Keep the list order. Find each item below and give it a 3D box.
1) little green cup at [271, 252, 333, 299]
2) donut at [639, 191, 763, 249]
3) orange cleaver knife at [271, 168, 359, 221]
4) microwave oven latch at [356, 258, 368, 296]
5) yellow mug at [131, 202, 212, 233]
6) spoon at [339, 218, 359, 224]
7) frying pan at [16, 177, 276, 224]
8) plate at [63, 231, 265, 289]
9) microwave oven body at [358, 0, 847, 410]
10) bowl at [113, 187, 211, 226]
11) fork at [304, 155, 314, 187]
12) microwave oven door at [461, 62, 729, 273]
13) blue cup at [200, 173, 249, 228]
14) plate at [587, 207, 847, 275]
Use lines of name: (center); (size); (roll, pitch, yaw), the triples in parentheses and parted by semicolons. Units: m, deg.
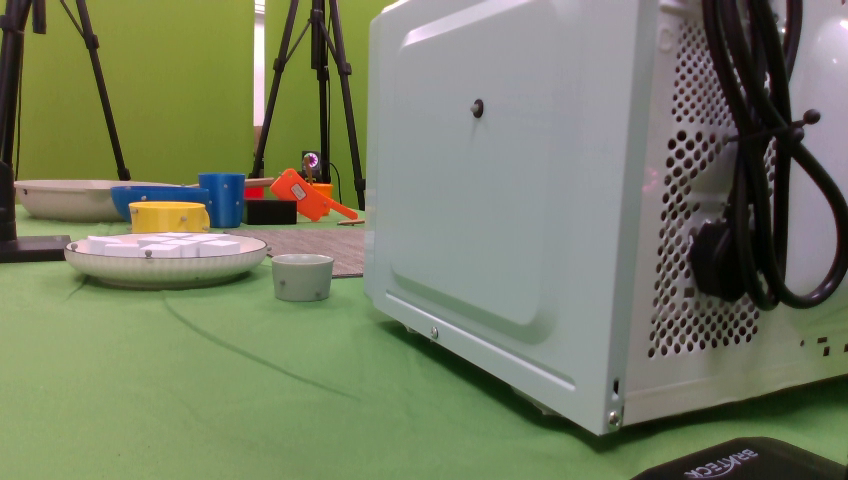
little green cup: (-0.122, 0.035, 0.605); (0.061, 0.038, 0.061); (2, 7, 0)
donut: (0.236, -0.017, 0.519); (0.099, 0.048, 0.099); (3, 5, 0)
orange cleaver knife: (-0.236, -0.084, 1.333); (0.212, 0.077, 0.012); (31, -9, -32)
microwave oven latch: (-0.019, 0.031, 0.528); (0.079, 0.029, 0.030); (-1, 7, -24)
yellow mug: (-0.356, -0.020, 0.878); (0.099, 0.064, 0.131); (5, 7, 21)
spoon: (-0.087, -0.041, 1.268); (0.193, 0.021, 0.041); (3, 20, 14)
frying pan: (-0.553, -0.097, 1.265); (0.490, 0.102, 0.305); (-10, 13, -24)
plate: (-0.288, 0.021, 0.687); (0.208, 0.039, 0.207); (2, 8, 0)
microwave oven body: (0.210, -0.051, 0.471); (0.444, 0.260, 0.324); (-1, 7, -28)
bowl: (-0.436, -0.046, 1.013); (0.151, 0.077, 0.151); (2, 7, 0)
fork: (-0.268, -0.134, 1.446); (0.028, 0.018, 0.207); (2, -36, -1)
microwave oven door: (0.202, -0.099, 0.805); (0.354, 0.243, 0.039); (8, 10, 39)
blue cup: (-0.381, -0.076, 1.155); (0.093, 0.100, 0.092); (0, 8, 0)
plate: (0.245, -0.002, 0.511); (0.209, 0.038, 0.209); (1, 7, 0)
